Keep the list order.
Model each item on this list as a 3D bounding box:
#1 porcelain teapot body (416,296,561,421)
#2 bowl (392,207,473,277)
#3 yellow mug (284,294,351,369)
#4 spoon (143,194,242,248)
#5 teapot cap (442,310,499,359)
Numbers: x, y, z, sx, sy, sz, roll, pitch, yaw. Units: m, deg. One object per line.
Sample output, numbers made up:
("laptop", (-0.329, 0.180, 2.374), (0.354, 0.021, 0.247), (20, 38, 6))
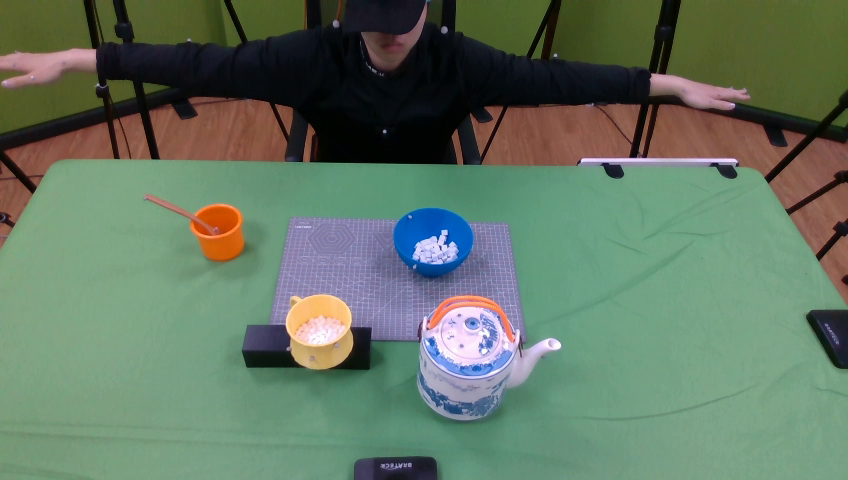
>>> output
("porcelain teapot body", (0.094, 0.164, 0.907), (0.205, 0.226, 0.144), (6, 45, 1))
("bowl", (0.014, 0.016, 1.140), (0.151, 0.077, 0.150), (2, 46, -2))
("yellow mug", (-0.175, 0.134, 0.955), (0.100, 0.064, 0.130), (-33, 56, -31))
("spoon", (-0.421, -0.036, 1.112), (0.021, 0.195, 0.041), (-36, 38, 24))
("teapot cap", (0.068, 0.133, 0.880), (0.085, 0.044, 0.084), (4, 45, -4))
